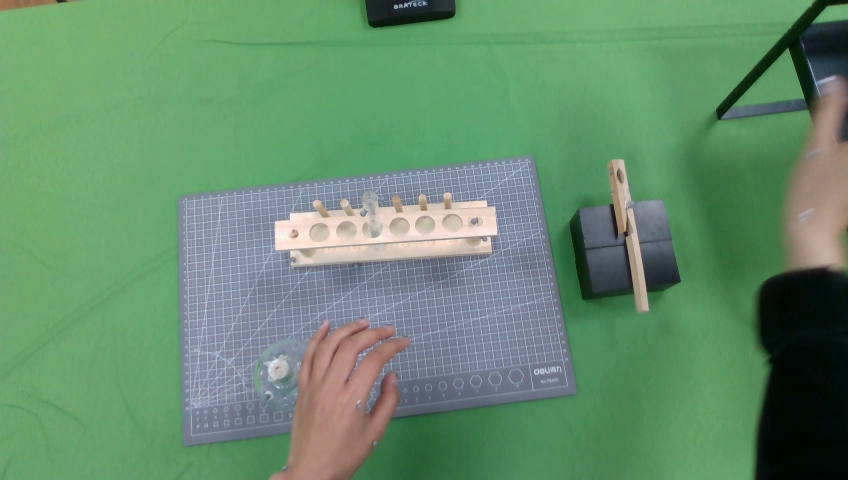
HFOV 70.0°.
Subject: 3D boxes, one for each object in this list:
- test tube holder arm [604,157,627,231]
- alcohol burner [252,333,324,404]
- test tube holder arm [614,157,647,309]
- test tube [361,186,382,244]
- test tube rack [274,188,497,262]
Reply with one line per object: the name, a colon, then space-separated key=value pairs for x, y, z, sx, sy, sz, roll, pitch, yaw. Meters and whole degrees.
test tube holder arm: x=0.223 y=-0.053 z=0.700 sx=0.010 sy=0.015 sz=0.087 roll=-3 pitch=76 yaw=-12
alcohol burner: x=-0.148 y=0.136 z=0.648 sx=0.078 sy=0.119 sz=0.077 roll=1 pitch=74 yaw=-2
test tube holder arm: x=0.233 y=-0.010 z=0.691 sx=0.013 sy=0.015 sz=0.177 roll=-3 pitch=76 yaw=-12
test tube: x=-0.055 y=-0.024 z=0.652 sx=0.017 sy=0.151 sz=0.017 roll=1 pitch=73 yaw=-1
test tube rack: x=-0.042 y=-0.023 z=0.704 sx=0.242 sy=0.085 sz=0.066 roll=-4 pitch=76 yaw=-1
